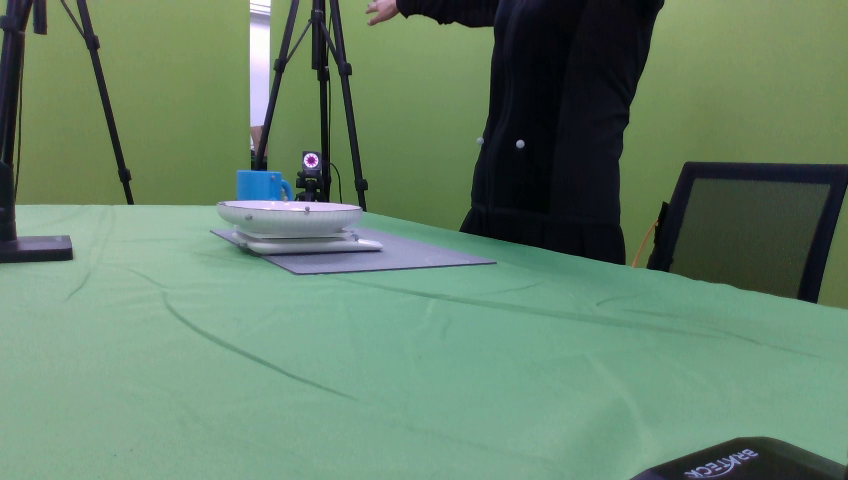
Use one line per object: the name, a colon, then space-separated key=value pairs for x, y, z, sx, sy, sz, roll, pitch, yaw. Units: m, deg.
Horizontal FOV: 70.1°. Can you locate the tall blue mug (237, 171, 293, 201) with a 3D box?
tall blue mug: x=-0.291 y=-0.070 z=1.091 sx=0.078 sy=0.108 sz=0.107 roll=3 pitch=8 yaw=7

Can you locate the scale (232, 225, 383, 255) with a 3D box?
scale: x=-0.177 y=-0.004 z=0.920 sx=0.202 sy=0.031 sz=0.148 roll=-1 pitch=9 yaw=-30

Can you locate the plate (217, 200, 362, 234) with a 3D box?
plate: x=-0.196 y=-0.035 z=0.894 sx=0.209 sy=0.038 sz=0.209 roll=2 pitch=7 yaw=0
